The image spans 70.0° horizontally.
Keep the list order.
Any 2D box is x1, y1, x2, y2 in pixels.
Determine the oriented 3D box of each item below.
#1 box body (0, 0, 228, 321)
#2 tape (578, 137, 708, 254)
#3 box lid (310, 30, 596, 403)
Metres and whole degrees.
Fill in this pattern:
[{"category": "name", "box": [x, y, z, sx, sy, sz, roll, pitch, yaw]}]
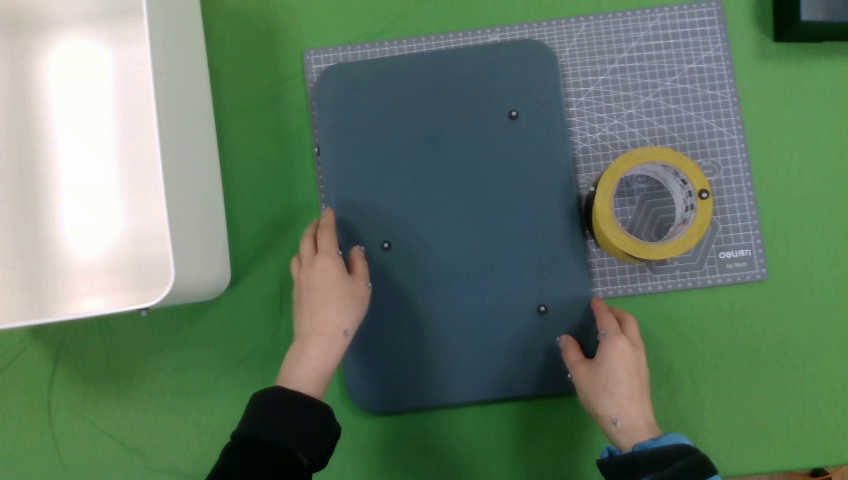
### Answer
[{"category": "box body", "box": [-0.343, -0.110, 0.570, 0.254, 0.160, 0.363, -8, 86, 1]}, {"category": "tape", "box": [0.217, -0.041, 0.603, 0.117, 0.053, 0.116, 0, 86, 2]}, {"category": "box lid", "box": [0.027, -0.029, 0.628, 0.263, 0.015, 0.370, -7, 86, 1]}]
